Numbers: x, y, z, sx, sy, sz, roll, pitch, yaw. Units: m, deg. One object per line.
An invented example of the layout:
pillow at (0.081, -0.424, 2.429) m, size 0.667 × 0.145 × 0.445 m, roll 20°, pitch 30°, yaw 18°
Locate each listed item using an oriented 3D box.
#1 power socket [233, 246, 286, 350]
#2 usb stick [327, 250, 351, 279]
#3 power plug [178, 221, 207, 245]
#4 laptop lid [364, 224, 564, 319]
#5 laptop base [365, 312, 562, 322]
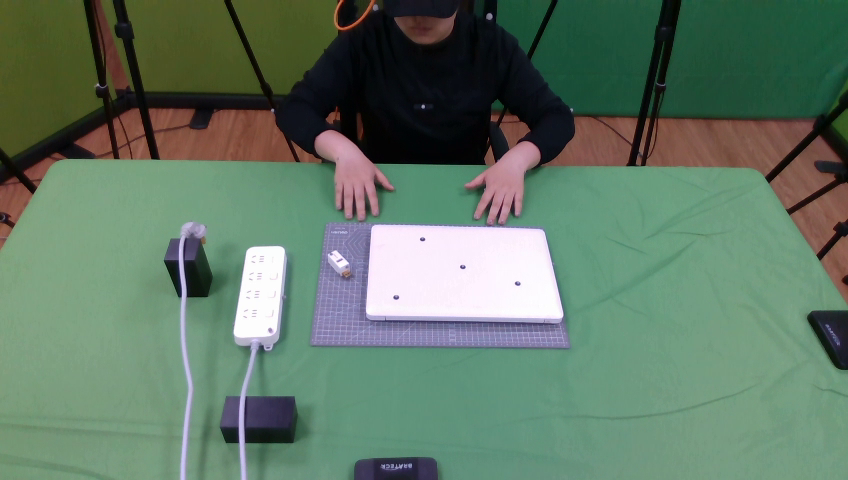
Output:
power socket at (-0.290, 0.094, 1.077) m, size 0.072 × 0.033 × 0.225 m, roll -2°, pitch 46°, yaw -5°
usb stick at (-0.158, 0.047, 1.133) m, size 0.021 × 0.027 × 0.059 m, roll -29°, pitch 58°, yaw -27°
power plug at (-0.413, -0.003, 1.069) m, size 0.035 × 0.053 × 0.072 m, roll -1°, pitch 41°, yaw 24°
laptop lid at (0.070, 0.053, 1.138) m, size 0.357 × 0.013 × 0.240 m, roll 3°, pitch 44°, yaw -2°
laptop base at (0.070, 0.063, 1.145) m, size 0.354 × 0.023 × 0.234 m, roll 1°, pitch 43°, yaw -3°
